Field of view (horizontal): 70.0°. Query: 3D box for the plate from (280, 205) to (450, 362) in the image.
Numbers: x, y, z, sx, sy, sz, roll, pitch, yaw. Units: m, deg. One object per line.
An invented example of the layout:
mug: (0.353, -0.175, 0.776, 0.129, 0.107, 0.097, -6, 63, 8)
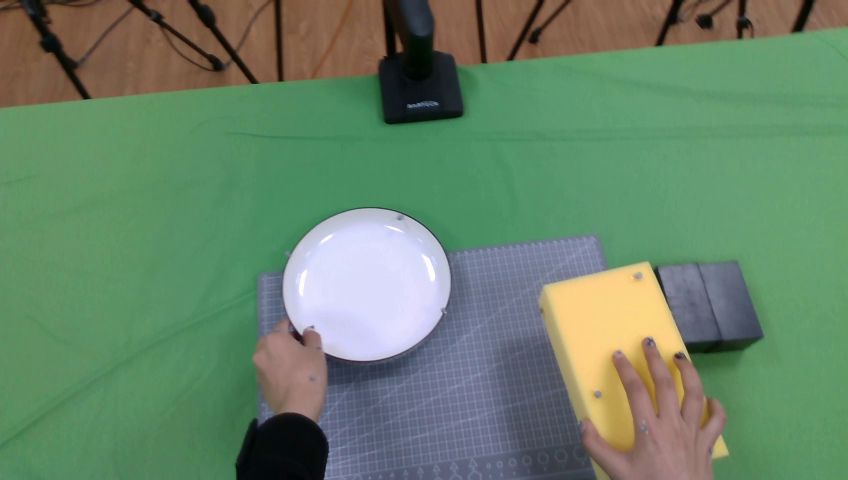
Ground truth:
plate: (-0.071, 0.054, 0.753, 0.209, 0.038, 0.207, 1, 63, -1)

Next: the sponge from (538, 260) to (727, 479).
sponge: (0.210, 0.135, 0.637, 0.118, 0.061, 0.205, -14, 67, -3)
